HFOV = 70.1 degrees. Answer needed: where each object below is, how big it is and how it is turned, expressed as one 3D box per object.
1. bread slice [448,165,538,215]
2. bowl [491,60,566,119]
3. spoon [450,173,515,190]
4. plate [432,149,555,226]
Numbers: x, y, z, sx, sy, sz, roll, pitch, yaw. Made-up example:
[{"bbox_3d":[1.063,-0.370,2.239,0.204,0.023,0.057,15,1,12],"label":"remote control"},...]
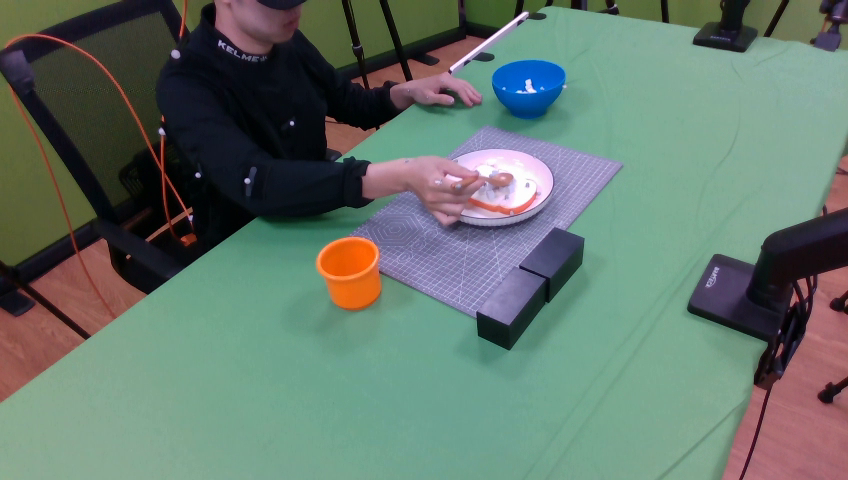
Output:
[{"bbox_3d":[0.126,-0.085,1.037,0.133,0.018,0.107,16,45,27],"label":"bread slice"},{"bbox_3d":[0.215,-0.302,1.248,0.151,0.077,0.150,-4,40,4],"label":"bowl"},{"bbox_3d":[0.090,-0.093,0.950,0.041,0.021,0.195,13,13,31],"label":"spoon"},{"bbox_3d":[0.120,-0.087,1.037,0.209,0.038,0.208,-4,40,4],"label":"plate"}]
